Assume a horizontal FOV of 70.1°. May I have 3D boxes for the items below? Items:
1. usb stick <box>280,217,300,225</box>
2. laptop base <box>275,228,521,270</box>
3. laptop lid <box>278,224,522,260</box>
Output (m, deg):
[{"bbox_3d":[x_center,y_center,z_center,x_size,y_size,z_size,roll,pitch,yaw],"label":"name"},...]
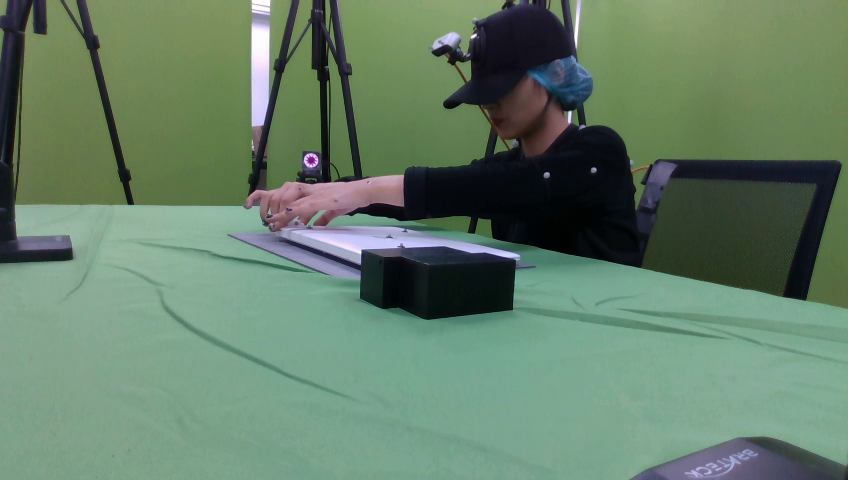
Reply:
[{"bbox_3d":[-0.225,-0.023,1.024,0.021,0.027,0.059,2,8,-31],"label":"usb stick"},{"bbox_3d":[-0.054,0.011,0.910,0.237,0.023,0.352,1,6,-33],"label":"laptop base"},{"bbox_3d":[-0.052,-0.001,0.910,0.243,0.013,0.355,0,7,-32],"label":"laptop lid"}]
